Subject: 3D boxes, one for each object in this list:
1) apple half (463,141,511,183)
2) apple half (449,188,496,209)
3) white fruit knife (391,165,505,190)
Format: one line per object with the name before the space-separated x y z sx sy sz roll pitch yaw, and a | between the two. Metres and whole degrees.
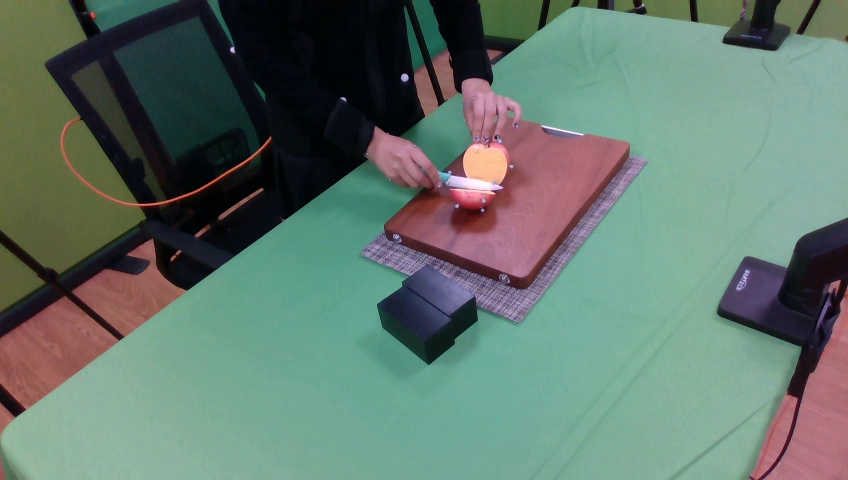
apple half | 0.112 -0.134 1.037 0.080 0.075 0.053 5 23 21
apple half | 0.080 -0.067 0.992 0.081 0.033 0.081 3 7 0
white fruit knife | 0.038 -0.106 1.033 0.206 0.027 0.016 10 43 17
